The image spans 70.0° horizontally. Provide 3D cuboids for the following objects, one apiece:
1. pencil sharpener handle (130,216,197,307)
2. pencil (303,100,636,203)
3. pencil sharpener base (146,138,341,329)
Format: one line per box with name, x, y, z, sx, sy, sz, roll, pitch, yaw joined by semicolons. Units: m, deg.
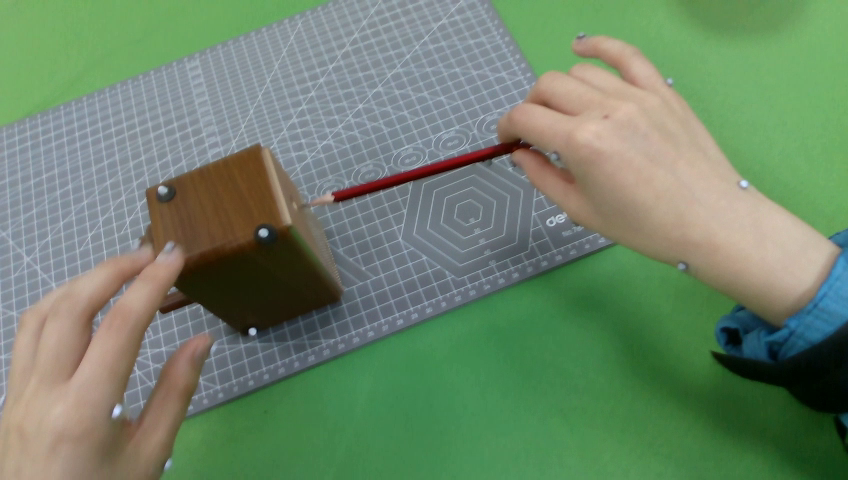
pencil sharpener handle;-0.152;0.017;0.346;0.030;0.068;0.035;-22;57;-2
pencil;0.026;-0.048;0.341;0.194;0.012;0.012;-16;63;-1
pencil sharpener base;-0.103;0.002;0.360;0.077;0.108;0.061;-22;64;-2
